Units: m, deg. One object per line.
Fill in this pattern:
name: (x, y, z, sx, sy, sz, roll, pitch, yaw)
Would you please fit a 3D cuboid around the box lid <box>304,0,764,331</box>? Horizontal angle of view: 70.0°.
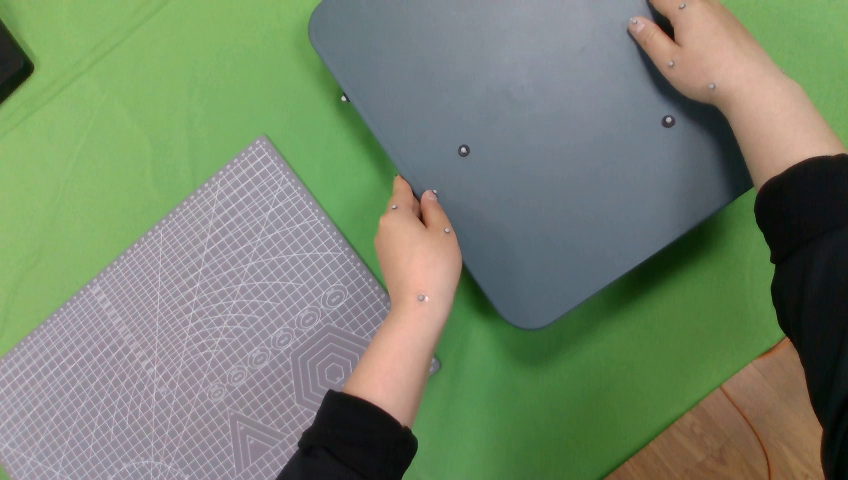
box lid: (0.082, -0.135, 0.536, 0.263, 0.015, 0.370, -36, 81, 5)
